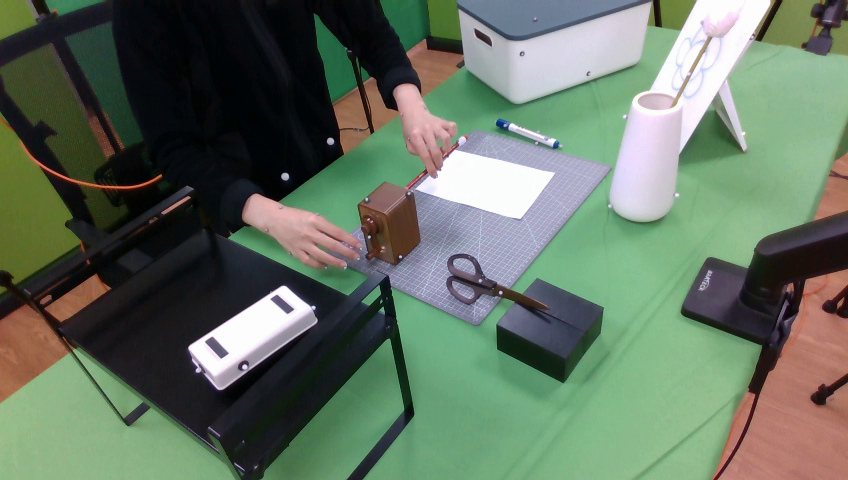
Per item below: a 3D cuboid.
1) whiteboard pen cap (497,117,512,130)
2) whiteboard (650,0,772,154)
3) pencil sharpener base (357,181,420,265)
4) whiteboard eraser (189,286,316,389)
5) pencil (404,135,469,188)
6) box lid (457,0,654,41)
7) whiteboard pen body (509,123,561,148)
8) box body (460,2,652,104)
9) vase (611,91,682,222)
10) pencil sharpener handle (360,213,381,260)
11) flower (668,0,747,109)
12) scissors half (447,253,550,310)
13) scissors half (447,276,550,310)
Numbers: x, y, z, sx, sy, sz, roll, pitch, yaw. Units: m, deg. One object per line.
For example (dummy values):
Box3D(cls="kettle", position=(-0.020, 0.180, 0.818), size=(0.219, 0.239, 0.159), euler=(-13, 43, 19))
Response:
Box3D(cls="whiteboard pen cap", position=(0.165, -0.235, 1.227), size=(0.033, 0.018, 0.018), euler=(31, 53, 30))
Box3D(cls="whiteboard", position=(0.543, -0.298, 1.076), size=(0.144, 0.305, 0.216), euler=(12, 40, -7))
Box3D(cls="pencil sharpener base", position=(-0.055, -0.024, 0.941), size=(0.061, 0.107, 0.077), euler=(22, 48, 29))
Box3D(cls="whiteboard eraser", position=(-0.166, 0.096, 0.593), size=(0.113, 0.042, 0.055), euler=(-36, 47, -29))
Box3D(cls="pencil", position=(0.018, -0.127, 1.003), size=(0.012, 0.012, 0.194), euler=(22, 48, 30))
Box3D(cls="box lid", position=(0.285, -0.522, 1.323), size=(0.373, 0.015, 0.261), euler=(-22, 43, -16))
Box3D(cls="whiteboard pen body", position=(0.209, -0.211, 1.195), size=(0.139, 0.017, 0.017), euler=(30, 52, 33))
Box3D(cls="box body", position=(0.291, -0.465, 1.371), size=(0.365, 0.161, 0.252), euler=(-22, 42, -16))
Box3D(cls="vase", position=(0.348, -0.125, 0.935), size=(0.098, 0.201, 0.097), euler=(-3, 40, 3))
Box3D(cls="pencil sharpener handle", position=(-0.083, -0.004, 0.902), size=(0.035, 0.068, 0.031), euler=(13, 44, 36))
Box3D(cls="flower", position=(0.354, -0.187, 0.879), size=(0.038, 0.362, 0.044), euler=(30, 48, 14))
Box3D(cls="scissors half", position=(0.098, 0.058, 0.821), size=(0.173, 0.040, 0.013), euler=(27, 33, 37))
Box3D(cls="scissors half", position=(0.098, 0.077, 0.827), size=(0.174, 0.040, 0.013), euler=(6, 14, 44))
